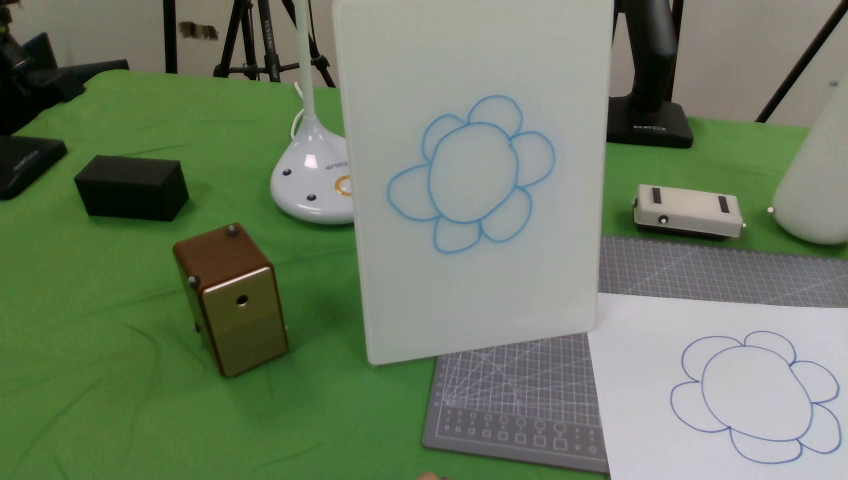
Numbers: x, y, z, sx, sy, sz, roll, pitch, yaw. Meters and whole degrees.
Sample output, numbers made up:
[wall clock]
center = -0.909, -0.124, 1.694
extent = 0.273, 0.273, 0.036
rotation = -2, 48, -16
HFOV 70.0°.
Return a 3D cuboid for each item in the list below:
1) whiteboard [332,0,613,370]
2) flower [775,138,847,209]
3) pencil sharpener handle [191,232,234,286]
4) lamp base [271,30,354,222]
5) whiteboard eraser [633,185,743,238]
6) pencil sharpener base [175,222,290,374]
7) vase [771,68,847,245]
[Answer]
[whiteboard]
center = 0.037, -0.063, 0.560
extent = 0.217, 0.307, 0.142
rotation = -7, 21, -9
[flower]
center = 0.464, -0.145, 0.582
extent = 0.044, 0.364, 0.038
rotation = -9, 57, -22
[pencil sharpener handle]
center = -0.192, 0.013, 0.550
extent = 0.036, 0.068, 0.030
rotation = -29, 47, -21
[lamp base]
center = -0.113, -0.138, 0.700
extent = 0.161, 0.182, 0.177
rotation = -27, 45, -30
[whiteboard eraser]
center = 0.298, -0.031, 0.692
extent = 0.112, 0.042, 0.055
rotation = 7, 37, 8
[pencil sharpener base]
center = -0.165, 0.050, 0.525
extent = 0.061, 0.108, 0.076
rotation = -23, 45, -26
[vase]
center = 0.455, -0.091, 0.647
extent = 0.098, 0.201, 0.097
rotation = 2, 39, -1
